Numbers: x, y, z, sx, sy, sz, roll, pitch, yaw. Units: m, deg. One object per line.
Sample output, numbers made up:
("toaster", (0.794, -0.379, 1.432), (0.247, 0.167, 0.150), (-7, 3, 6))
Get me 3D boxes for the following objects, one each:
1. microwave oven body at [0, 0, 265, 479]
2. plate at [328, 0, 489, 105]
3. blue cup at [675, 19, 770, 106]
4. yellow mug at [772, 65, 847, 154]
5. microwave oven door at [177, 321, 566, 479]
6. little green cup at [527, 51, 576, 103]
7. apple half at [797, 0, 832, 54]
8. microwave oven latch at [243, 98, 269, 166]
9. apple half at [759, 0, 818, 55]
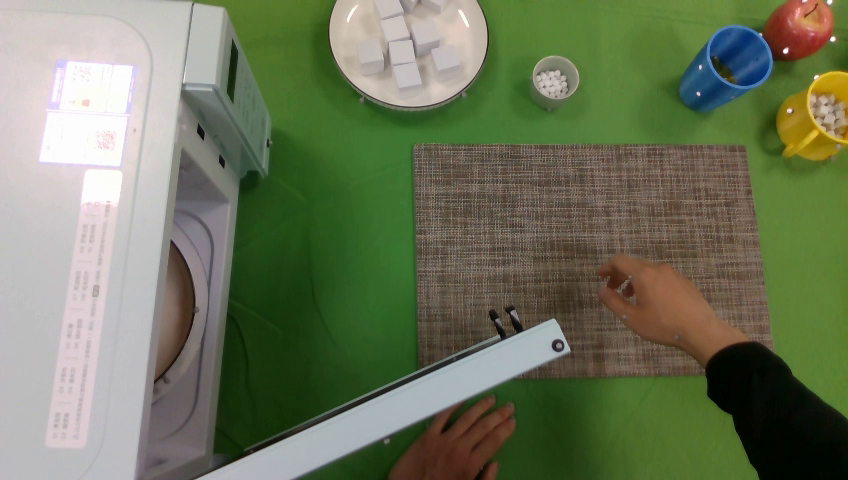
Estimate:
("microwave oven body", (-0.351, 0.015, 0.593), (0.326, 0.261, 0.440), (2, 79, -5))
("plate", (-0.020, -0.270, 0.795), (0.208, 0.039, 0.206), (1, 78, -4))
("blue cup", (0.377, -0.221, 0.786), (0.093, 0.100, 0.092), (1, 80, -5))
("yellow mug", (0.520, -0.162, 0.804), (0.131, 0.064, 0.100), (-42, 85, -10))
("microwave oven door", (-0.057, 0.164, 0.583), (0.356, 0.244, 0.039), (-23, 80, -9))
("little green cup", (0.166, -0.213, 0.799), (0.061, 0.039, 0.061), (1, 78, -4))
("apple half", (0.528, -0.292, 0.826), (0.033, 0.081, 0.081), (5, 78, -1))
("microwave oven latch", (-0.206, -0.132, 0.733), (0.030, 0.029, 0.079), (4, 79, -4))
("apple half", (0.489, -0.295, 0.824), (0.053, 0.075, 0.080), (5, 81, 0))
